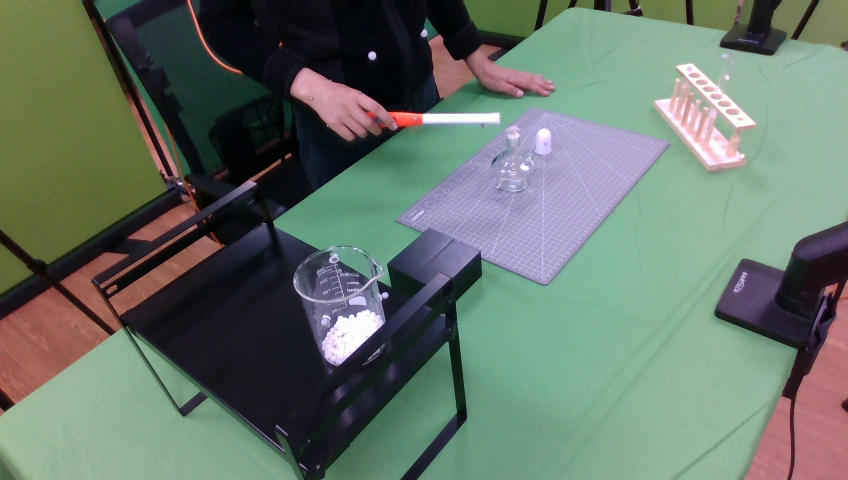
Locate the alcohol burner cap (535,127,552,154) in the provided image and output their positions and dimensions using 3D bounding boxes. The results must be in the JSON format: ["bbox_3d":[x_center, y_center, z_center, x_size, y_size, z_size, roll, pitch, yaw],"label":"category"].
[{"bbox_3d":[0.227,-0.190,1.142,0.034,0.048,0.033,-3,40,3],"label":"alcohol burner cap"}]

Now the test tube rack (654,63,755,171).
[{"bbox_3d":[0.510,-0.233,1.120,0.067,0.085,0.241,-8,41,-1],"label":"test tube rack"}]

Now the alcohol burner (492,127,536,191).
[{"bbox_3d":[0.155,-0.146,1.046,0.078,0.119,0.077,-4,43,4],"label":"alcohol burner"}]

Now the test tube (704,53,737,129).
[{"bbox_3d":[0.526,-0.261,1.075,0.017,0.151,0.017,-2,44,2],"label":"test tube"}]

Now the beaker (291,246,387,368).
[{"bbox_3d":[-0.073,0.066,0.573,0.084,0.101,0.073,-7,41,0],"label":"beaker"}]

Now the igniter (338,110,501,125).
[{"bbox_3d":[-0.011,-0.205,1.009,0.276,0.025,0.057,1,15,6],"label":"igniter"}]
